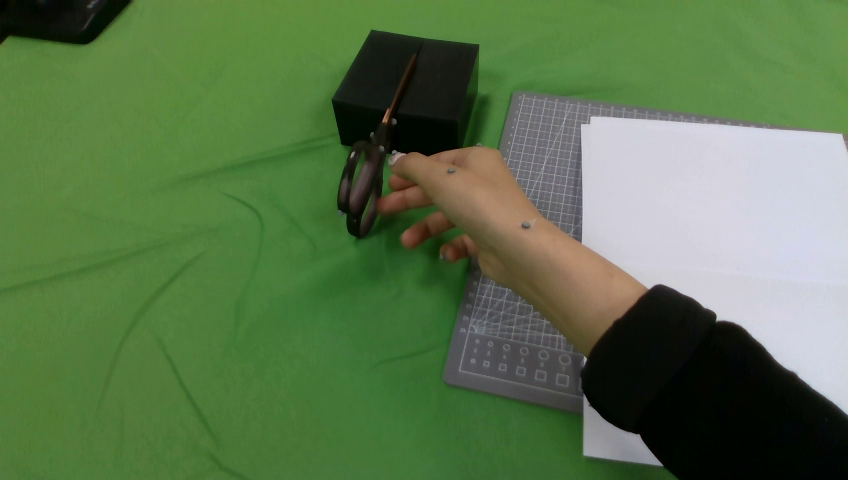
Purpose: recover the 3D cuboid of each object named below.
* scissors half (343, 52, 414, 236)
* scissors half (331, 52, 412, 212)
[{"bbox_3d":[-0.032,-0.082,0.489,0.012,0.040,0.174,9,71,18],"label":"scissors half"},{"bbox_3d":[-0.035,-0.092,0.471,0.013,0.040,0.174,11,53,14],"label":"scissors half"}]
